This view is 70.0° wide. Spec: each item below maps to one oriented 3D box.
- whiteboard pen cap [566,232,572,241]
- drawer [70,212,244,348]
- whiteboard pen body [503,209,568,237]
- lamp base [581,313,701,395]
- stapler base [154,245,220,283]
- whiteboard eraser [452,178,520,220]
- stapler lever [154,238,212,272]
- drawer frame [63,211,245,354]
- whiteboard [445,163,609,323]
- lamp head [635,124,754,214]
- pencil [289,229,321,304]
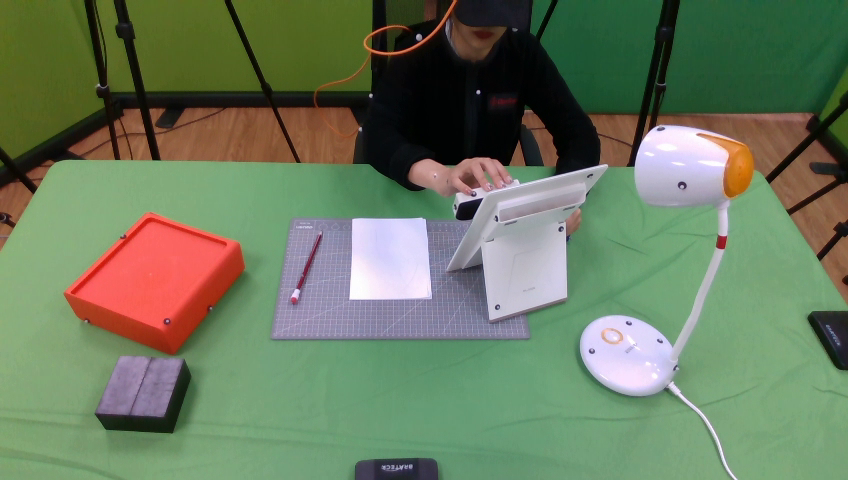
[{"bbox_3d":[0.282,-0.012,1.231,0.033,0.018,0.018,24,49,14],"label":"whiteboard pen cap"},{"bbox_3d":[-0.458,0.065,1.060,0.194,0.073,0.211,18,48,12],"label":"drawer"},{"bbox_3d":[0.229,-0.034,1.248,0.140,0.017,0.017,23,49,15],"label":"whiteboard pen body"},{"bbox_3d":[0.361,0.144,0.973,0.178,0.181,0.160,34,53,23],"label":"lamp base"},{"bbox_3d":[-0.434,0.038,1.107,0.130,0.024,0.041,21,45,17],"label":"stapler base"},{"bbox_3d":[0.104,-0.065,0.996,0.113,0.056,0.041,-15,66,-12],"label":"whiteboard eraser"},{"bbox_3d":[-0.434,0.022,1.091,0.118,0.040,0.027,23,46,15],"label":"stapler lever"},{"bbox_3d":[-0.459,0.067,1.056,0.201,0.083,0.212,17,48,11],"label":"drawer frame"},{"bbox_3d":[0.186,0.026,1.028,0.217,0.306,0.143,-13,68,-17],"label":"whiteboard"},{"bbox_3d":[0.351,-0.089,0.775,0.112,0.113,0.122,-30,30,-28],"label":"lamp head"},{"bbox_3d":[-0.221,0.046,1.141,0.012,0.012,0.193,8,44,4],"label":"pencil"}]
